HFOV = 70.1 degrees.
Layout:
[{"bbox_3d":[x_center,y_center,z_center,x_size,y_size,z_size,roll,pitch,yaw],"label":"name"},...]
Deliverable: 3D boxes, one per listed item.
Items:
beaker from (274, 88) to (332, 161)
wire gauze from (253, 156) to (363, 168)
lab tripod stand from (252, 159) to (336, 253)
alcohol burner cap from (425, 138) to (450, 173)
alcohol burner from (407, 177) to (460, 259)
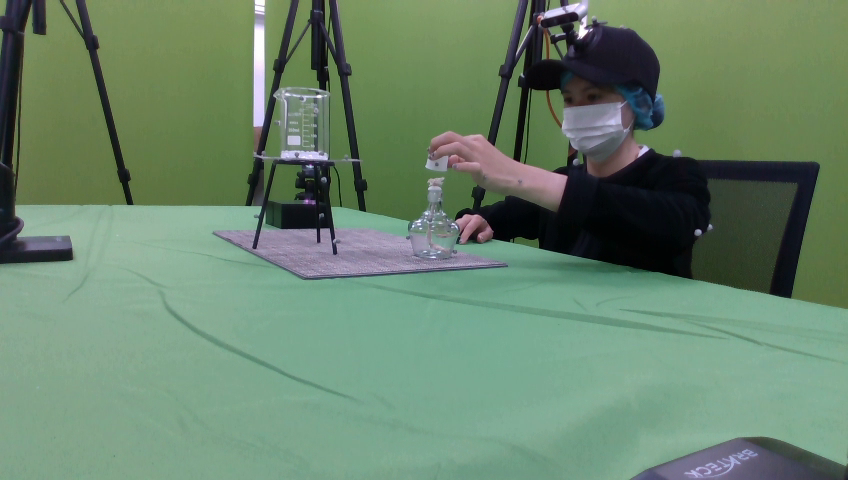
[{"bbox_3d":[-0.177,-0.165,0.879,0.084,0.100,0.074,2,5,1],"label":"beaker"},{"bbox_3d":[-0.172,-0.117,0.891,0.122,0.011,0.124,0,3,-38],"label":"wire gauze"},{"bbox_3d":[-0.180,-0.053,0.900,0.148,0.131,0.148,1,6,0],"label":"lab tripod stand"},{"bbox_3d":[0.021,-0.120,0.857,0.034,0.048,0.034,8,16,-2],"label":"alcohol burner cap"},{"bbox_3d":[0.015,-0.032,0.882,0.078,0.119,0.078,3,5,0],"label":"alcohol burner"}]
